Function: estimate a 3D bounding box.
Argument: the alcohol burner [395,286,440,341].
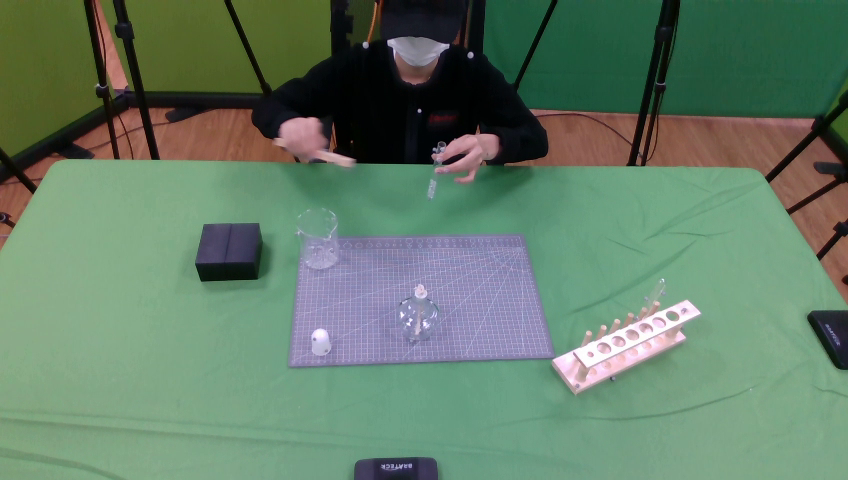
[{"bbox_3d":[-0.010,0.116,1.018,0.078,0.119,0.077,3,47,-3],"label":"alcohol burner"}]

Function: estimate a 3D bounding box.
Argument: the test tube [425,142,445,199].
[{"bbox_3d":[0.020,-0.127,1.136,0.017,0.151,0.017,5,54,-7],"label":"test tube"}]

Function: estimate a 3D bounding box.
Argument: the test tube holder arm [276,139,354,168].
[{"bbox_3d":[-0.202,-0.161,1.112,0.178,0.015,0.013,19,16,24],"label":"test tube holder arm"}]

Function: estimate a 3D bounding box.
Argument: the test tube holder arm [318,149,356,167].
[{"bbox_3d":[-0.161,-0.148,1.098,0.087,0.015,0.010,19,16,24],"label":"test tube holder arm"}]

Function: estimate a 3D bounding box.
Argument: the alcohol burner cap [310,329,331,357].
[{"bbox_3d":[-0.173,0.168,1.004,0.034,0.048,0.033,2,46,-2],"label":"alcohol burner cap"}]

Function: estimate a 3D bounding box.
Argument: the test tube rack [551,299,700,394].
[{"bbox_3d":[0.339,0.166,1.021,0.242,0.085,0.066,-19,50,-21],"label":"test tube rack"}]

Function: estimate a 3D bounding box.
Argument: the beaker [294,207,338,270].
[{"bbox_3d":[-0.196,0.003,1.123,0.074,0.101,0.083,-23,53,-24],"label":"beaker"}]

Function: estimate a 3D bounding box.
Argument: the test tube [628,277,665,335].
[{"bbox_3d":[0.371,0.112,1.014,0.017,0.151,0.017,3,47,-3],"label":"test tube"}]
